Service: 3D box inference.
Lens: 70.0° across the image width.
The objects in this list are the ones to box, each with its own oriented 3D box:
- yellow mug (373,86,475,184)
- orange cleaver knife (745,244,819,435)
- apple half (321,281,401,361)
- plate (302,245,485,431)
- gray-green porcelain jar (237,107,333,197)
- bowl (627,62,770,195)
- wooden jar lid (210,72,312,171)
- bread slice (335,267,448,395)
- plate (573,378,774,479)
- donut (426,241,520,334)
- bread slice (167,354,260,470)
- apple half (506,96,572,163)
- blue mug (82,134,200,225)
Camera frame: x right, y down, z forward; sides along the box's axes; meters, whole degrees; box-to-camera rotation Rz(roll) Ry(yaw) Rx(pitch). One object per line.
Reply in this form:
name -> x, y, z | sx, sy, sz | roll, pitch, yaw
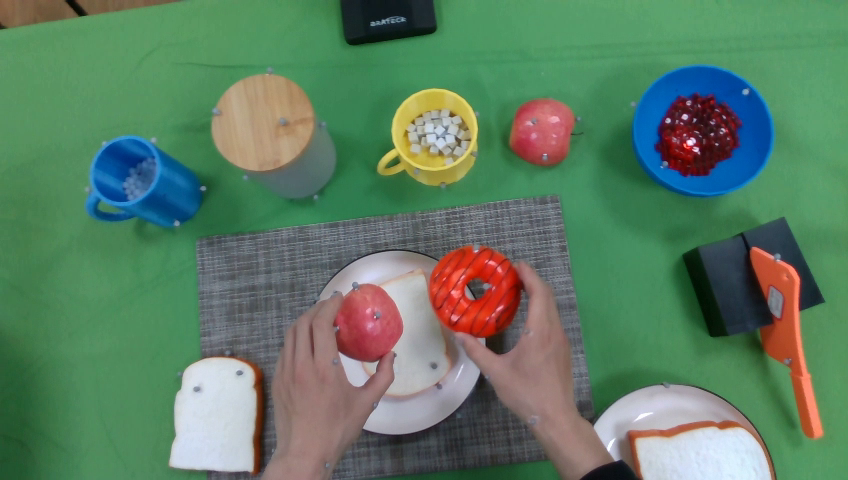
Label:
yellow mug -> -0.003, -0.116, 0.723 | 0.131, 0.064, 0.099 | -31, 79, -1
orange cleaver knife -> 0.382, 0.106, 0.651 | 0.012, 0.077, 0.212 | -18, 101, -6
apple half -> -0.060, 0.083, 0.598 | 0.081, 0.033, 0.081 | 0, 89, -4
plate -> -0.034, 0.111, 0.696 | 0.207, 0.039, 0.207 | -1, 80, 4
gray-green porcelain jar -> -0.166, -0.111, 0.702 | 0.106, 0.127, 0.105 | -1, 79, 4
bowl -> 0.303, -0.117, 0.697 | 0.151, 0.077, 0.151 | -1, 81, 4
wooden jar lid -> -0.170, -0.123, 0.641 | 0.108, 0.021, 0.108 | -1, 78, 5
bread slice -> -0.029, 0.108, 0.697 | 0.107, 0.018, 0.133 | -23, 79, 0
plate -> 0.264, 0.254, 0.655 | 0.209, 0.038, 0.208 | -1, 80, 4
donut -> 0.051, 0.049, 0.629 | 0.099, 0.048, 0.098 | 0, 81, -1
bread slice -> -0.244, 0.199, 0.705 | 0.105, 0.019, 0.131 | 1, 81, 3
apple half -> 0.138, -0.138, 0.724 | 0.074, 0.053, 0.080 | 15, 82, 9
blue mug -> -0.340, -0.059, 0.714 | 0.116, 0.106, 0.082 | -33, 79, -2
